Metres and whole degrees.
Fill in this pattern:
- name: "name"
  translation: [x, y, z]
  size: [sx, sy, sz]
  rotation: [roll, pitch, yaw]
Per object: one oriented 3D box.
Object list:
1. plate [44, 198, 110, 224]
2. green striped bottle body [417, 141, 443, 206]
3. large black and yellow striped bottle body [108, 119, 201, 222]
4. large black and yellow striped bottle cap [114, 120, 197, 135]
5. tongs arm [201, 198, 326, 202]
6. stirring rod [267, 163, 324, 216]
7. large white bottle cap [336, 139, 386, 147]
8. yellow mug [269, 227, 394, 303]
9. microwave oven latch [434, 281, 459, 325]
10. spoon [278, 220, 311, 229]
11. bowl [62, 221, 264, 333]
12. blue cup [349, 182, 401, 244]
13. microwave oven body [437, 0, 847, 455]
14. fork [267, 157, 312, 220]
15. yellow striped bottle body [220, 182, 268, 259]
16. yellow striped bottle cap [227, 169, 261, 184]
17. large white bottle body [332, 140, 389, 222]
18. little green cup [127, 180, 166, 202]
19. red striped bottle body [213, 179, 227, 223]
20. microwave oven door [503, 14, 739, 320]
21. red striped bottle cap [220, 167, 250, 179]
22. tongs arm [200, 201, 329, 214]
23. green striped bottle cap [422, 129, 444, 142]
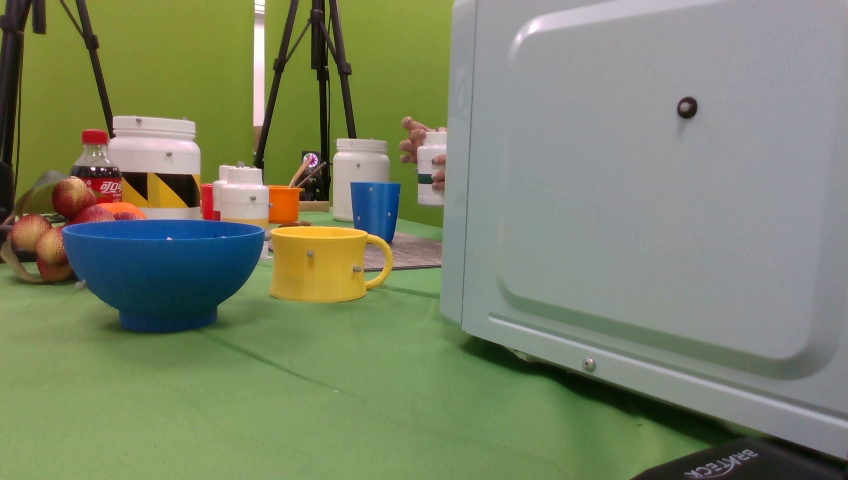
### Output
- name: "plate"
  translation: [-0.617, -0.056, 1.179]
  size: [0.209, 0.038, 0.209]
  rotation: [3, 7, 0]
- name: "green striped bottle body"
  translation: [0.019, -0.119, 1.013]
  size: [0.063, 0.119, 0.063]
  rotation: [-1, 9, 0]
- name: "large black and yellow striped bottle body"
  translation: [-0.412, -0.088, 0.930]
  size: [0.131, 0.184, 0.130]
  rotation: [3, 7, 0]
- name: "large black and yellow striped bottle cap"
  translation: [-0.407, -0.171, 0.920]
  size: [0.115, 0.019, 0.115]
  rotation: [2, 9, 0]
- name: "tongs arm"
  translation: [-0.433, -0.089, 1.508]
  size: [0.390, 0.028, 0.028]
  rotation: [-1, 2, -29]
- name: "stirring rod"
  translation: [-0.278, -0.105, 1.294]
  size: [0.176, 0.006, 0.014]
  rotation: [-47, 26, -18]
- name: "large white bottle cap"
  translation: [-0.143, -0.219, 1.375]
  size: [0.115, 0.018, 0.115]
  rotation: [2, 8, 0]
- name: "yellow mug"
  translation: [-0.094, 0.023, 0.629]
  size: [0.131, 0.064, 0.099]
  rotation: [0, 7, -22]
- name: "microwave oven latch"
  translation: [0.044, 0.045, 0.470]
  size: [0.079, 0.029, 0.030]
  rotation: [-2, 8, -39]
- name: "spoon"
  translation: [-0.232, -0.027, 1.116]
  size: [0.041, 0.021, 0.193]
  rotation: [-22, 6, 4]
- name: "bowl"
  translation: [-0.208, 0.029, 0.496]
  size: [0.151, 0.077, 0.151]
  rotation: [2, 6, 0]
- name: "blue cup"
  translation: [-0.082, -0.047, 1.009]
  size: [0.093, 0.100, 0.092]
  rotation: [1, 6, 0]
- name: "microwave oven body"
  translation: [0.279, -0.040, 0.465]
  size: [0.444, 0.260, 0.324]
  rotation: [-3, 9, -41]
- name: "fork"
  translation: [-0.289, -0.116, 1.321]
  size: [0.028, 0.019, 0.207]
  rotation: [6, 51, 18]
- name: "yellow striped bottle body"
  translation: [-0.246, -0.036, 0.825]
  size: [0.063, 0.120, 0.063]
  rotation: [3, 8, 0]
- name: "yellow striped bottle cap"
  translation: [-0.243, -0.086, 0.818]
  size: [0.044, 0.018, 0.044]
  rotation: [3, 6, 0]
- name: "large white bottle body"
  translation: [-0.145, -0.136, 1.387]
  size: [0.131, 0.184, 0.130]
  rotation: [2, 7, 0]
- name: "little green cup"
  translation: [-0.485, -0.086, 1.061]
  size: [0.061, 0.038, 0.061]
  rotation: [1, 7, 0]
- name: "red striped bottle body"
  translation: [-0.284, -0.048, 0.910]
  size: [0.063, 0.119, 0.063]
  rotation: [3, 12, 0]
- name: "microwave oven door"
  translation: [0.218, -0.065, 0.600]
  size: [0.358, 0.243, 0.039]
  rotation: [-4, 10, -41]
- name: "red striped bottle cap"
  translation: [-0.281, -0.100, 0.901]
  size: [0.044, 0.017, 0.044]
  rotation: [-1, 5, 0]
- name: "tongs arm"
  translation: [-0.378, -0.079, 1.440]
  size: [0.387, 0.026, 0.050]
  rotation: [-4, 8, -44]
- name: "green striped bottle cap"
  translation: [0.019, -0.172, 1.007]
  size: [0.044, 0.020, 0.044]
  rotation: [-5, 17, 2]
